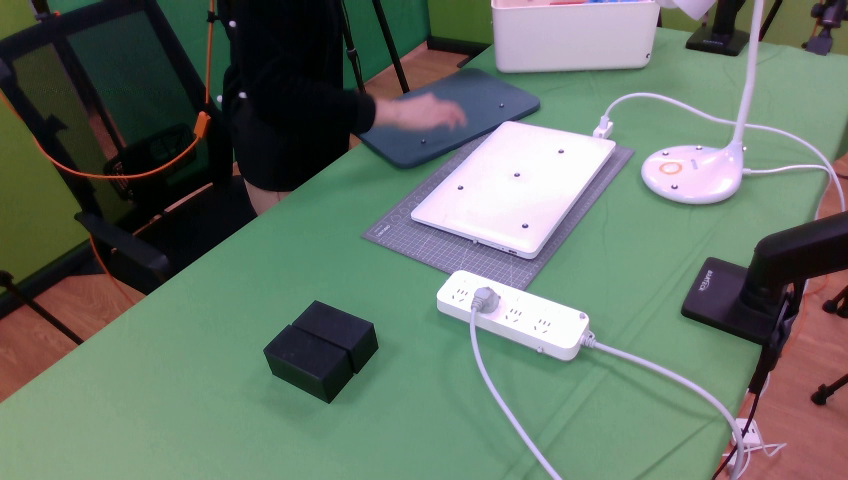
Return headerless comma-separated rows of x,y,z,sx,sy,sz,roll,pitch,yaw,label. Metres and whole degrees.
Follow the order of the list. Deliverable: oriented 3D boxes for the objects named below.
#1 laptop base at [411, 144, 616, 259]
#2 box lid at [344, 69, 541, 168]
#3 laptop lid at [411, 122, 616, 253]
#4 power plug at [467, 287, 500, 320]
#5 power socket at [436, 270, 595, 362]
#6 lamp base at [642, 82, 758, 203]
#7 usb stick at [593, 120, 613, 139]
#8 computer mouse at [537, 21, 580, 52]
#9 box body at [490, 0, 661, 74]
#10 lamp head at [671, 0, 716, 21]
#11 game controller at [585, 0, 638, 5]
0.168,-0.101,1.073,0.234,0.023,0.355,17,46,30,laptop base
0.040,-0.272,1.300,0.373,0.015,0.261,-28,44,-22,box lid
0.164,-0.111,1.067,0.240,0.013,0.357,19,46,31,laptop lid
0.073,0.092,0.814,0.035,0.053,0.073,29,54,34,power plug
0.118,0.101,0.832,0.225,0.033,0.072,19,48,27,power socket
0.464,-0.174,0.992,0.179,0.181,0.159,-5,41,-2,lamp base
0.336,-0.201,1.147,0.021,0.027,0.059,26,53,27,usb stick
0.335,-0.503,1.488,0.118,0.041,0.062,21,21,-28,computer mouse
0.346,-0.520,1.429,0.363,0.161,0.253,0,41,9,box body
0.375,-0.373,0.807,0.122,0.113,0.112,-40,27,32,lamp head
0.427,-0.548,1.425,0.155,0.052,0.096,-16,45,-10,game controller
